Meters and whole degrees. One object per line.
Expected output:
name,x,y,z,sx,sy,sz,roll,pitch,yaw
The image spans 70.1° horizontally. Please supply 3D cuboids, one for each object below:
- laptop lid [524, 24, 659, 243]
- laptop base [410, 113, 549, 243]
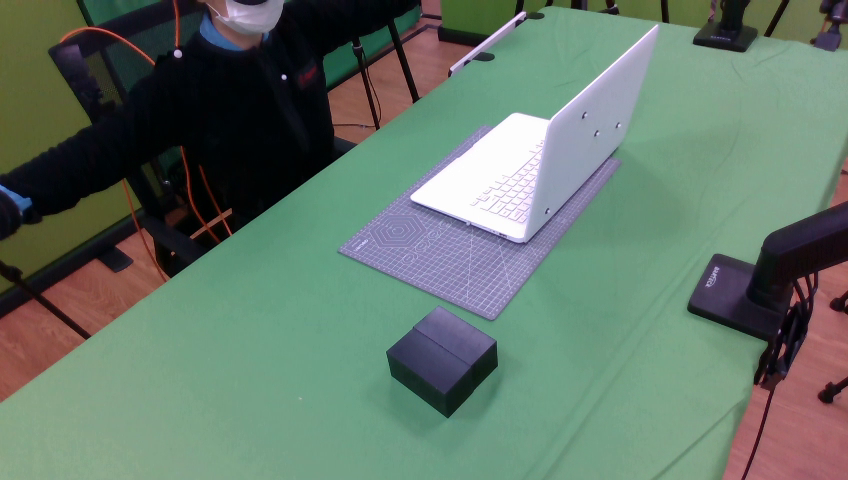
laptop lid,0.266,-0.170,0.949,0.013,0.242,0.358,30,50,25
laptop base,0.171,-0.126,1.096,0.233,0.023,0.355,21,47,33
